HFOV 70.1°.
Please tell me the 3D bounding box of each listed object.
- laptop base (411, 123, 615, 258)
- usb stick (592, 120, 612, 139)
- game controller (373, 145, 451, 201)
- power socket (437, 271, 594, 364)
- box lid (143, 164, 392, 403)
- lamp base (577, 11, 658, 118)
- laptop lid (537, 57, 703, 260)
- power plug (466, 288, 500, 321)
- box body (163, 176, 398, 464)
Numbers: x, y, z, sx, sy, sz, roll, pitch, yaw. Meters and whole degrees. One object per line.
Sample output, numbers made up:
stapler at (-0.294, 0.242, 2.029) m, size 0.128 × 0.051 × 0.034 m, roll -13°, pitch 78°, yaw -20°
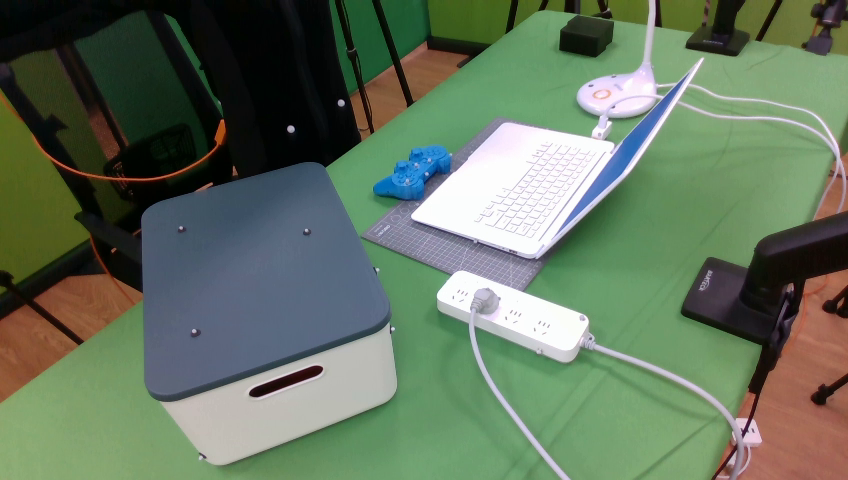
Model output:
laptop base at (0.167, -0.102, 1.074) m, size 0.234 × 0.023 × 0.355 m, roll 16°, pitch 45°, yaw 30°
usb stick at (0.335, -0.203, 1.149) m, size 0.021 × 0.027 × 0.059 m, roll 26°, pitch 53°, yaw 26°
game controller at (-0.018, -0.130, 1.111) m, size 0.096 × 0.052 × 0.155 m, roll 22°, pitch 49°, yaw 26°
power socket at (0.118, 0.102, 0.830) m, size 0.225 × 0.033 × 0.072 m, roll 20°, pitch 48°, yaw 28°
box lid at (-0.212, 0.025, 0.753) m, size 0.264 × 0.015 × 0.368 m, roll -18°, pitch 40°, yaw -13°
lamp base at (0.406, -0.363, 1.223) m, size 0.180 × 0.181 × 0.159 m, roll -20°, pitch 42°, yaw -18°
laptop lid at (0.304, -0.127, 0.928) m, size 0.013 × 0.241 × 0.357 m, roll 40°, pitch 51°, yaw 4°
power plug at (0.072, 0.093, 0.813) m, size 0.035 × 0.053 × 0.073 m, roll 30°, pitch 54°, yaw 35°
box body at (-0.205, 0.080, 0.802) m, size 0.255 × 0.161 × 0.361 m, roll -18°, pitch 41°, yaw -13°
